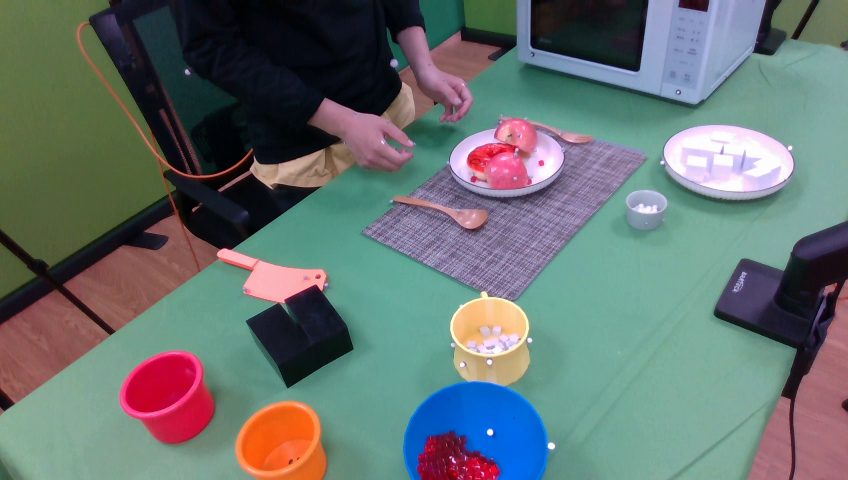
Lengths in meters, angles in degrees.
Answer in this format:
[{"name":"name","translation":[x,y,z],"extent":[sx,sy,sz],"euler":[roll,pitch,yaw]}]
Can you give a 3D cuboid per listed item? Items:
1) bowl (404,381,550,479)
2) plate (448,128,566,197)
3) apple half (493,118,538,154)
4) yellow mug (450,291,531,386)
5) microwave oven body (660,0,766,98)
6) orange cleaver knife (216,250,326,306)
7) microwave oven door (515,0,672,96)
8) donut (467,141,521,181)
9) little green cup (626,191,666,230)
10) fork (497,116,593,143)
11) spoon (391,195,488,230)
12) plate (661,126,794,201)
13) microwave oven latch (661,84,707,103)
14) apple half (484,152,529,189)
[{"name":"bowl","translation":[0.058,0.235,0.645],"extent":[0.151,0.077,0.150],"euler":[-4,39,4]},{"name":"plate","translation":[0.150,-0.138,1.096],"extent":[0.209,0.038,0.208],"euler":[-4,40,4]},{"name":"apple half","translation":[0.175,-0.196,1.113],"extent":[0.080,0.053,0.075],"euler":[28,12,34]},{"name":"yellow mug","translation":[0.085,0.120,0.786],"extent":[0.100,0.064,0.130],"euler":[-7,39,1]},{"name":"microwave oven body","translation":[0.472,-0.513,1.317],"extent":[0.438,0.261,0.327],"euler":[26,51,34]},{"name":"orange cleaver knife","translation":[-0.248,0.058,0.945],"extent":[0.210,0.012,0.077],"euler":[12,49,20]},{"name":"microwave oven door","translation":[0.343,-0.454,1.259],"extent":[0.353,0.245,0.039],"euler":[26,51,33]},{"name":"donut","translation":[0.126,-0.144,1.090],"extent":[0.099,0.048,0.098],"euler":[-5,38,5]},{"name":"little green cup","translation":[0.352,-0.046,0.963],"extent":[0.061,0.039,0.061],"euler":[-4,40,4]},{"name":"fork","translation":[0.235,-0.220,1.195],"extent":[0.206,0.019,0.028],"euler":[23,55,28]},{"name":"spoon","translation":[0.023,-0.054,1.029],"extent":[0.192,0.022,0.041],"euler":[18,70,27]},{"name":"plate","translation":[0.513,-0.128,1.035],"extent":[0.207,0.039,0.206],"euler":[-4,40,4]},{"name":"microwave oven latch","translation":[0.517,-0.296,1.204],"extent":[0.078,0.029,0.030],"euler":[27,52,34]},{"name":"apple half","translation":[0.144,-0.116,1.032],"extent":[0.081,0.033,0.081],"euler":[3,77,-11]}]
